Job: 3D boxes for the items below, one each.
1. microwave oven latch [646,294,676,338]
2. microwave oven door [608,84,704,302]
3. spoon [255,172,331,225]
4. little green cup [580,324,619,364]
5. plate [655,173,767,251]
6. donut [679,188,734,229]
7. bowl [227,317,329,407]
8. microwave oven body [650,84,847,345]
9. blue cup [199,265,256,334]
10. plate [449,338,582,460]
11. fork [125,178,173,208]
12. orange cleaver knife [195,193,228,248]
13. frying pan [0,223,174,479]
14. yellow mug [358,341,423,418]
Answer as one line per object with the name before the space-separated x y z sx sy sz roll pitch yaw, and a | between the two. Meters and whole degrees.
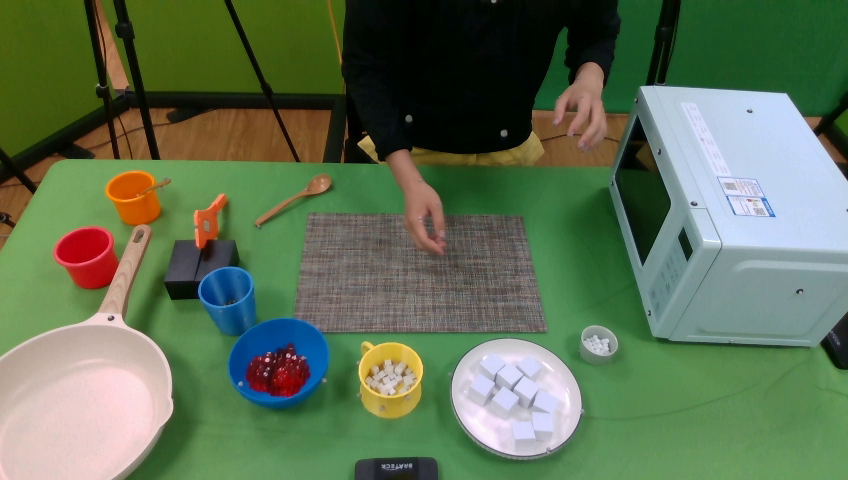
microwave oven latch | 0.412 0.133 1.060 0.030 0.029 0.078 3 46 0
microwave oven door | 0.424 -0.096 1.138 0.039 0.245 0.353 3 46 -1
spoon | -0.272 -0.087 1.257 0.041 0.022 0.193 43 57 16
little green cup | 0.296 0.179 1.031 0.061 0.039 0.061 2 45 -2
plate | 0.556 -0.052 1.187 0.209 0.038 0.208 2 45 -2
donut | 0.546 -0.062 1.175 0.099 0.048 0.098 0 44 0
bowl | -0.222 0.203 0.947 0.151 0.077 0.150 2 46 -2
microwave oven body | 0.569 -0.054 1.116 0.326 0.261 0.439 2 46 -1
blue cup | -0.321 0.106 1.014 0.093 0.101 0.092 2 49 -2
plate | 0.141 0.251 0.955 0.208 0.039 0.206 2 47 -2
fork | -0.525 -0.090 1.154 0.207 0.019 0.028 -17 27 45
orange cleaver knife | -0.406 -0.041 1.163 0.012 0.077 0.210 0 18 -3
frying pan | -0.504 0.169 0.941 0.307 0.103 0.485 5 54 -1
yellow mug | -0.063 0.210 0.961 0.100 0.064 0.130 -29 54 -28
